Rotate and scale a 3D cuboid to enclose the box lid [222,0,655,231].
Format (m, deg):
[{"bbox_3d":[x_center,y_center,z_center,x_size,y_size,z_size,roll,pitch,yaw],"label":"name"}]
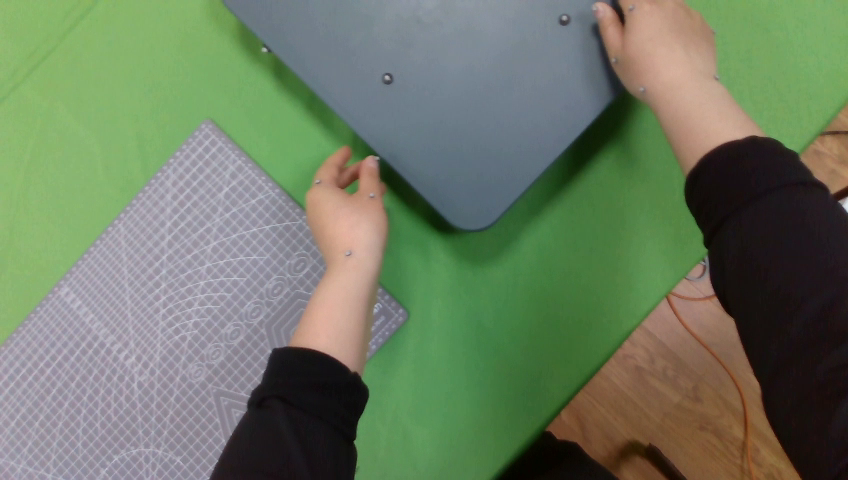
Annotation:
[{"bbox_3d":[0.003,-0.217,0.577,0.370,0.015,0.263,44,92,5],"label":"box lid"}]
